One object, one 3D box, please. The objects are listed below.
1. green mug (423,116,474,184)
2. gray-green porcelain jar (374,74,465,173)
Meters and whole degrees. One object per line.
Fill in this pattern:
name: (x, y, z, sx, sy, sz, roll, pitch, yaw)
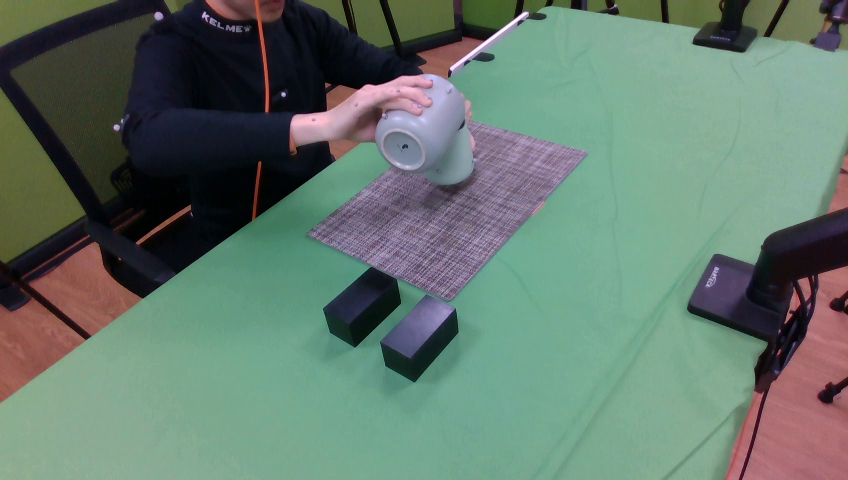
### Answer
green mug: (0.037, -0.169, 1.045, 0.092, 0.105, 0.124, -5, 44, 6)
gray-green porcelain jar: (-0.008, -0.171, 0.903, 0.105, 0.106, 0.126, 11, 47, 20)
